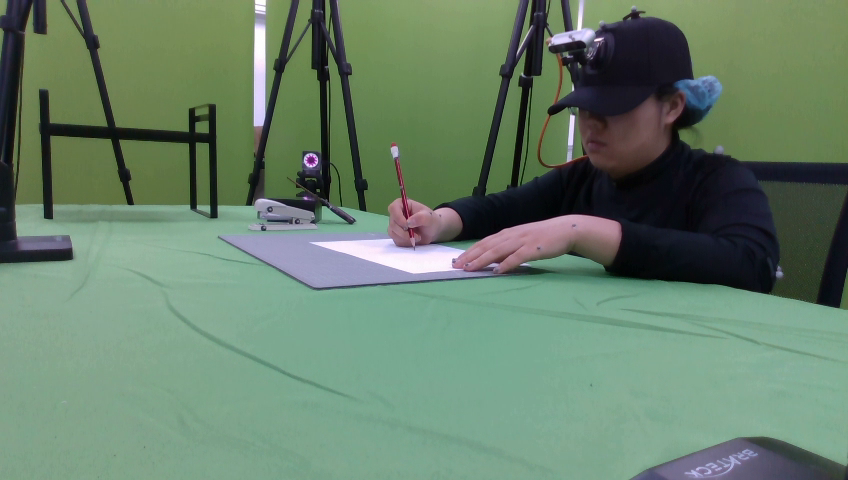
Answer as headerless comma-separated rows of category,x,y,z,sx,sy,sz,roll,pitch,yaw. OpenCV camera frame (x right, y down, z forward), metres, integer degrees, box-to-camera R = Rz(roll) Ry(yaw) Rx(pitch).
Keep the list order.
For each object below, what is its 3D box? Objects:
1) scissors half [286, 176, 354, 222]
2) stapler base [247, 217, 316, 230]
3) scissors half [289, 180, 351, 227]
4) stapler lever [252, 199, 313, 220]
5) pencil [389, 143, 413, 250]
scissors half,-0.229,-0.091,1.337,0.175,0.013,0.040,33,16,-13
stapler base,-0.276,-0.033,1.172,0.131,0.024,0.041,0,10,-37
scissors half,-0.232,-0.085,1.317,0.175,0.013,0.040,38,21,4
stapler lever,-0.273,-0.058,1.170,0.119,0.040,0.026,0,10,-37
pencil,-0.036,-0.072,0.976,0.012,0.193,0.012,-10,-20,-3
